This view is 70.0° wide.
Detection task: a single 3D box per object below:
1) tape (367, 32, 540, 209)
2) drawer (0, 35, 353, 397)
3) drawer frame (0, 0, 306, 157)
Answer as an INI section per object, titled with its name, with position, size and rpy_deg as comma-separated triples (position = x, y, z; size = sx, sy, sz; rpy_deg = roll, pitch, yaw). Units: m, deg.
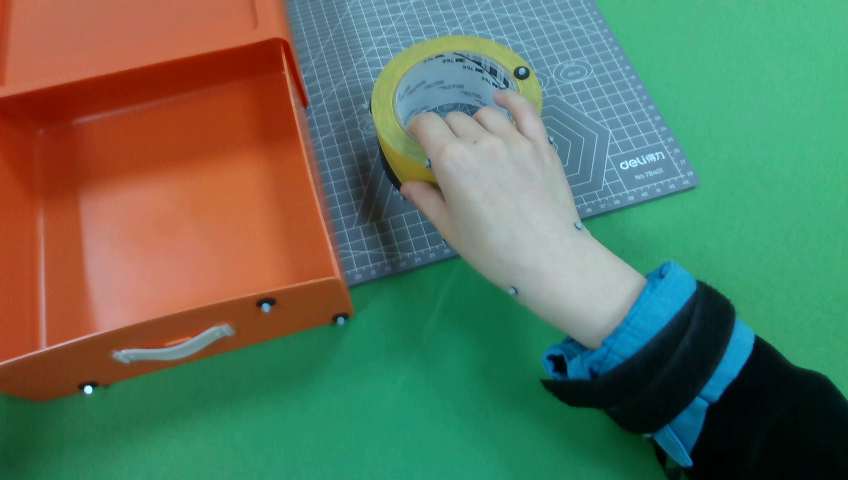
[tape]
position = 0.021, -0.080, 0.409
size = 0.117, 0.053, 0.116
rpy_deg = -1, 64, 2
[drawer]
position = -0.164, -0.030, 0.379
size = 0.195, 0.074, 0.210
rpy_deg = -15, 65, -5
[drawer frame]
position = -0.207, -0.177, 0.447
size = 0.202, 0.083, 0.211
rpy_deg = -14, 64, -5
